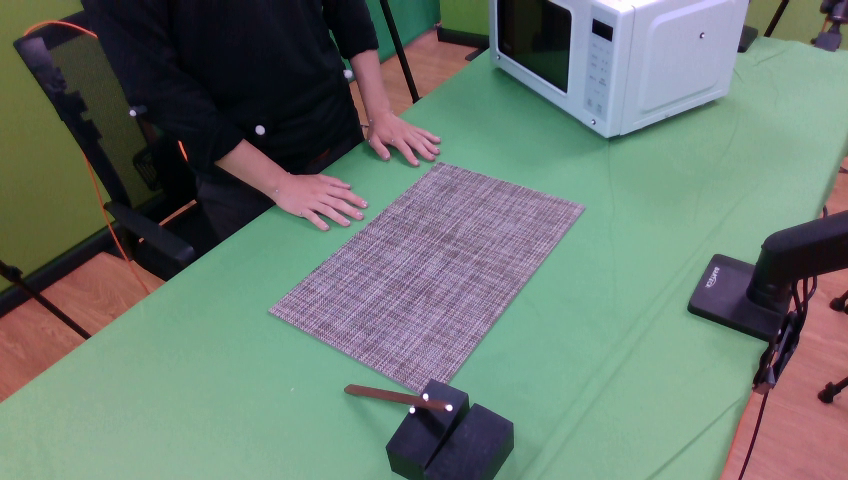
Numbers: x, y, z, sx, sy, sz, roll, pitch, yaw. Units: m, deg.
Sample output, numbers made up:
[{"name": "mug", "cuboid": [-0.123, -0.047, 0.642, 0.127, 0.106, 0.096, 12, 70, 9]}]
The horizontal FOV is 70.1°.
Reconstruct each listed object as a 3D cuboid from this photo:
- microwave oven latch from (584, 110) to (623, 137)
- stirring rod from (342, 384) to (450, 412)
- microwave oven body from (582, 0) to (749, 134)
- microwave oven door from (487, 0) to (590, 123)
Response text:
[{"name": "microwave oven latch", "cuboid": [0.337, -0.222, 1.142, 0.030, 0.029, 0.078, -21, 42, -14]}, {"name": "stirring rod", "cuboid": [-0.038, 0.186, 0.714, 0.175, 0.006, 0.014, -3, 22, 43]}, {"name": "microwave oven body", "cuboid": [0.382, -0.444, 1.246, 0.327, 0.261, 0.437, -22, 42, -16]}, {"name": "microwave oven door", "cuboid": [0.232, -0.420, 1.231, 0.039, 0.245, 0.352, -22, 43, -16]}]
